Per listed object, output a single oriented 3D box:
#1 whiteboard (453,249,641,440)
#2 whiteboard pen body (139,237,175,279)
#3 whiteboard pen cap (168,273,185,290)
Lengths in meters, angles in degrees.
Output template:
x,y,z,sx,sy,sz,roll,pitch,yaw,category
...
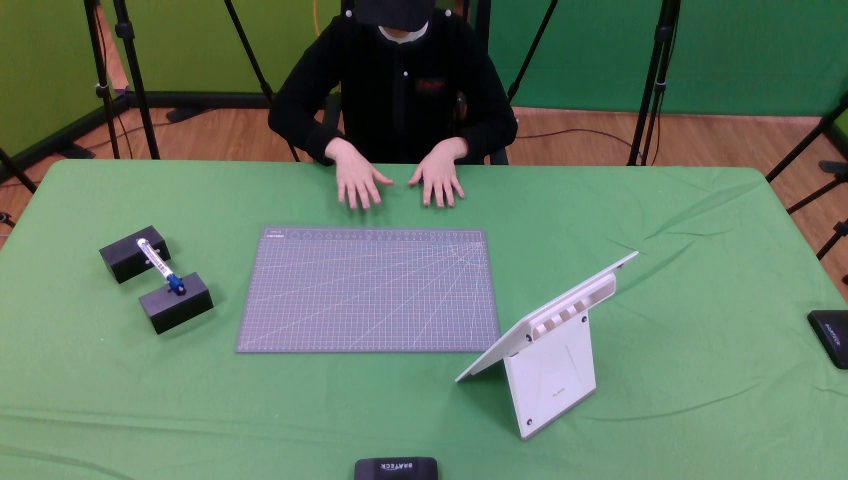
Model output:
x,y,z,sx,sy,sz,roll,pitch,yaw,category
0.206,0.174,0.890,0.217,0.306,0.143,-24,72,-25,whiteboard
-0.462,0.038,1.059,0.017,0.017,0.140,-33,56,-30,whiteboard pen body
-0.422,0.070,1.031,0.018,0.018,0.033,-33,54,-30,whiteboard pen cap
